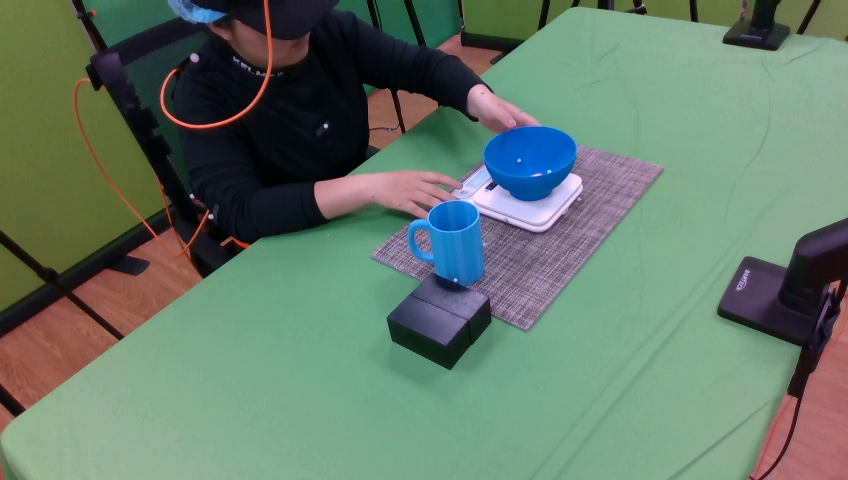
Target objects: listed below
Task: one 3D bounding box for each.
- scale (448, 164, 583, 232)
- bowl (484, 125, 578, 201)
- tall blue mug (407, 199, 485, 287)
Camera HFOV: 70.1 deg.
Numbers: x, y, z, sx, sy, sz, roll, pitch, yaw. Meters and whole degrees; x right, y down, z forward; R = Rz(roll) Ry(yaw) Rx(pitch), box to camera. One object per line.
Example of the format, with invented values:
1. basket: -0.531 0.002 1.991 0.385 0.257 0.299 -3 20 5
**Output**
1. scale: 0.156 -0.085 1.039 0.199 0.032 0.149 22 49 33
2. bowl: 0.175 -0.117 0.991 0.151 0.077 0.150 -6 41 5
3. tall blue mug: 0.034 0.008 0.892 0.107 0.108 0.077 -14 41 -5
